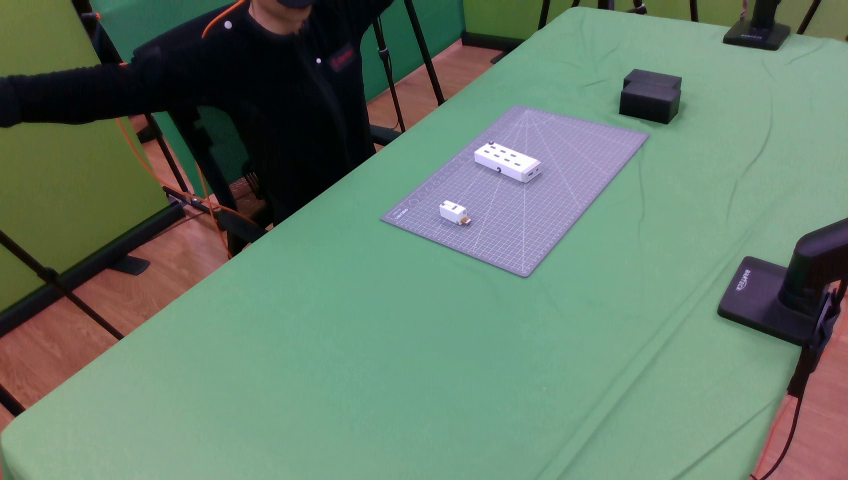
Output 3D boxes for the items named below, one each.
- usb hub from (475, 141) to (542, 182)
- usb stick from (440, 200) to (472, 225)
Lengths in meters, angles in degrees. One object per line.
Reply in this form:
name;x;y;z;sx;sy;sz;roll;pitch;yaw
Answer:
usb hub;0.155;-0.146;1.118;0.050;0.025;0.124;-35;47;-28
usb stick;0.055;-0.044;1.016;0.058;0.027;0.021;29;52;33
